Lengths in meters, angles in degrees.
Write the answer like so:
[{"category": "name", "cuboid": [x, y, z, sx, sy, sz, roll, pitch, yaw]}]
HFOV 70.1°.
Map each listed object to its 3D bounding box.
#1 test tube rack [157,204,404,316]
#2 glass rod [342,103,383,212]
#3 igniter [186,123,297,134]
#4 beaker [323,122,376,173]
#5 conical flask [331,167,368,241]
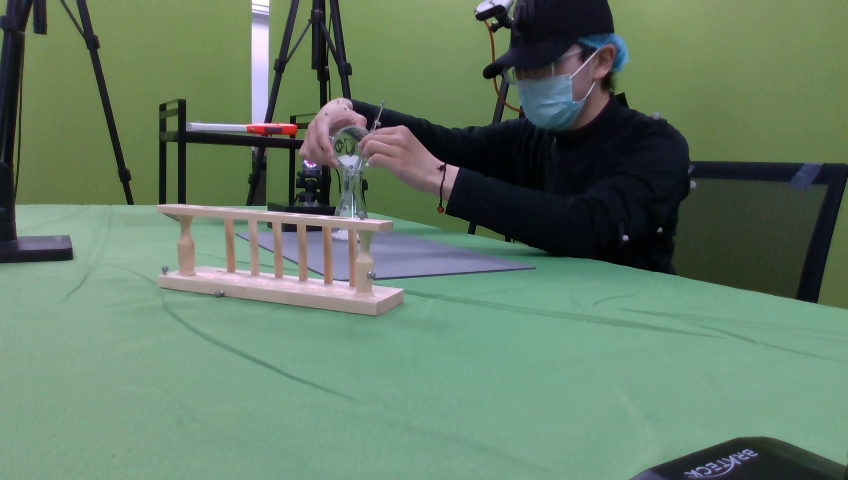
[{"category": "test tube rack", "cuboid": [-0.143, 0.013, 0.599, 0.242, 0.085, 0.067, 5, 8, 19]}, {"category": "glass rod", "cuboid": [-0.102, -0.133, 1.000, 0.008, 0.199, 0.008, 19, 22, -8]}, {"category": "igniter", "cuboid": [-0.392, -0.248, 1.341, 0.057, 0.025, 0.278, 9, 14, 38]}, {"category": "beaker", "cuboid": [-0.133, -0.161, 1.053, 0.074, 0.084, 0.100, 3, 8, -21]}, {"category": "conical flask", "cuboid": [-0.123, -0.061, 1.018, 0.075, 0.122, 0.075, 2, 7, 0]}]
